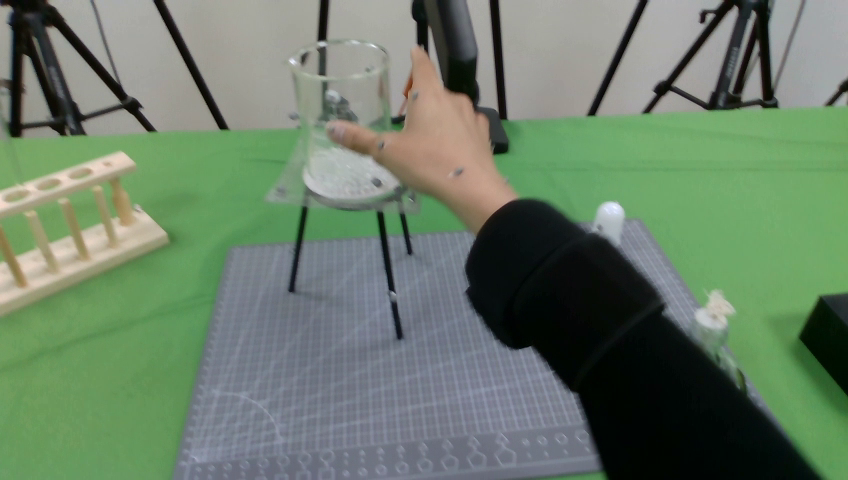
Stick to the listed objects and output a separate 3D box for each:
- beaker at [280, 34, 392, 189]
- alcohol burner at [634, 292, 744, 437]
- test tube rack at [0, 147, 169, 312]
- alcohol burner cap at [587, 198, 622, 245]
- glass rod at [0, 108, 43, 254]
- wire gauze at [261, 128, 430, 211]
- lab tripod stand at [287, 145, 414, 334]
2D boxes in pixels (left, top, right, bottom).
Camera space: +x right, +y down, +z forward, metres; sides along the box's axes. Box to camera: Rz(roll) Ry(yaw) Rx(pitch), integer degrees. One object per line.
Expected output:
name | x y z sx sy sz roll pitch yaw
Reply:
beaker | -0.065 -0.097 0.469 0.084 0.101 0.073 7 39 9
alcohol burner | 0.195 0.086 0.439 0.078 0.120 0.077 0 36 0
test tube rack | -0.380 0.001 0.570 0.242 0.086 0.066 -30 47 -33
alcohol burner cap | 0.191 -0.022 0.637 0.034 0.048 0.033 0 38 0
glass rod | -0.378 -0.073 0.558 0.008 0.201 0.008 3 31 -1
wire gauze | -0.060 -0.063 0.505 0.125 0.011 0.120 2 37 7
lab tripod stand | -0.058 -0.005 0.538 0.148 0.132 0.147 -1 39 1
